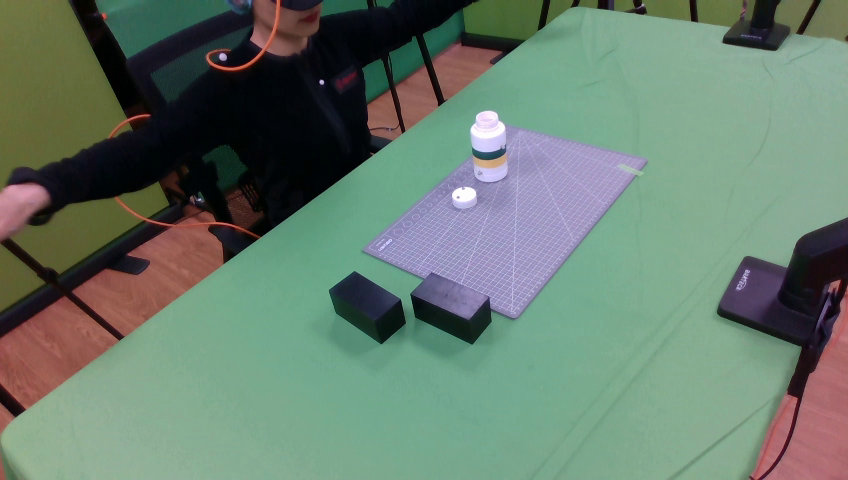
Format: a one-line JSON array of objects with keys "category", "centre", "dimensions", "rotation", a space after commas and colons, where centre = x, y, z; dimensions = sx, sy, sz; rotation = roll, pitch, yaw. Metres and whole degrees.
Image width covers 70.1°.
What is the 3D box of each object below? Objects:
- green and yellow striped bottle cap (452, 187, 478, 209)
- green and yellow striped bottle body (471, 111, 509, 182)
[{"category": "green and yellow striped bottle cap", "centre": [0.072, -0.074, 1.057], "dimensions": [0.045, 0.020, 0.045], "rotation": [-6, 39, 6]}, {"category": "green and yellow striped bottle body", "centre": [0.117, -0.169, 1.079], "dimensions": [0.063, 0.120, 0.063], "rotation": [-6, 40, 5]}]
